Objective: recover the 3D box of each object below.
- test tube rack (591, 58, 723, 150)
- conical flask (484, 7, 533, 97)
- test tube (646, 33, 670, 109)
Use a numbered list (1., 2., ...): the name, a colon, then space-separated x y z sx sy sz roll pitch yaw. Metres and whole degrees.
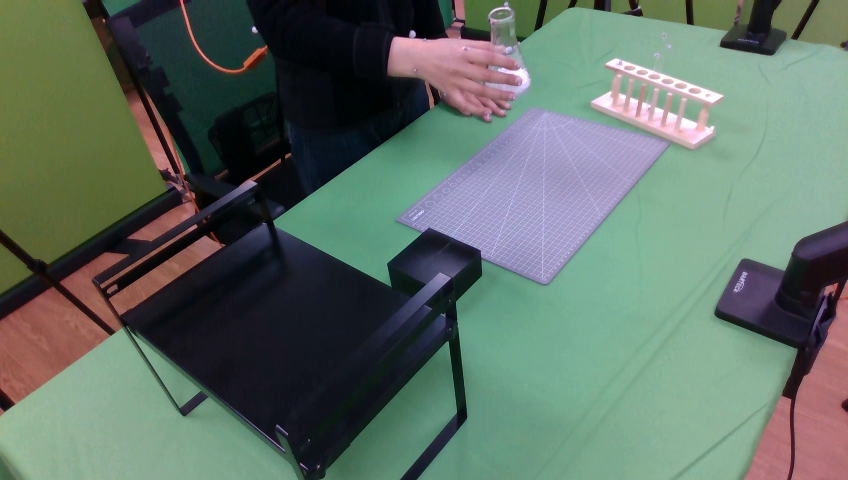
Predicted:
1. test tube rack: 0.442 -0.269 1.171 0.067 0.085 0.240 -30 46 -24
2. conical flask: 0.119 -0.277 0.890 0.075 0.122 0.075 -7 50 8
3. test tube: 0.445 -0.319 1.154 0.017 0.151 0.017 -1 41 2
